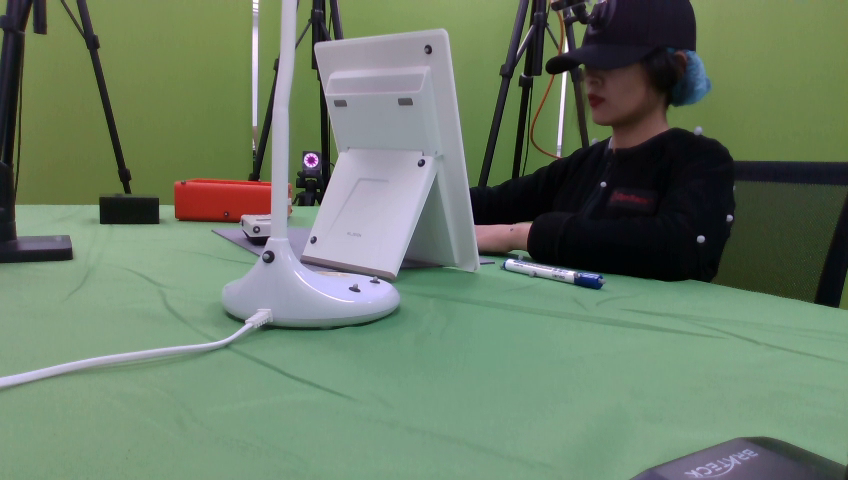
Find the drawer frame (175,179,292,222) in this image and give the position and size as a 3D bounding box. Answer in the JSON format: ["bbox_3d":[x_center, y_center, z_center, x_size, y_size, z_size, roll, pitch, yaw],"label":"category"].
[{"bbox_3d":[-0.402,-0.087,1.311,0.214,0.082,0.201,1,8,-9],"label":"drawer frame"}]

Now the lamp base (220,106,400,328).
[{"bbox_3d":[-0.101,-0.023,0.531,0.160,0.180,0.179,4,10,10],"label":"lamp base"}]

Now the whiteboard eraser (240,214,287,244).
[{"bbox_3d":[-0.256,-0.018,0.958,0.056,0.042,0.112,0,8,-25],"label":"whiteboard eraser"}]

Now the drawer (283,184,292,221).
[{"bbox_3d":[-0.397,-0.086,1.314,0.212,0.073,0.194,1,8,-9],"label":"drawer"}]

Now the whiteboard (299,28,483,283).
[{"bbox_3d":[-0.075,-0.082,0.741,0.216,0.305,0.144,9,30,38],"label":"whiteboard"}]

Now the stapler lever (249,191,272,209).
[{"bbox_3d":[-0.352,-0.086,1.306,0.027,0.040,0.118,-1,5,-3],"label":"stapler lever"}]

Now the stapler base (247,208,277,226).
[{"bbox_3d":[-0.350,-0.054,1.310,0.041,0.024,0.130,-1,12,-3],"label":"stapler base"}]

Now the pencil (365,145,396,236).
[{"bbox_3d":[-0.081,-0.093,1.111,0.012,0.194,0.012,13,-22,6],"label":"pencil"}]

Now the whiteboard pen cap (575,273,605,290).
[{"bbox_3d":[0.197,0.048,0.719,0.018,0.018,0.033,-4,11,-41],"label":"whiteboard pen cap"}]

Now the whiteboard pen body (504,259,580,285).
[{"bbox_3d":[0.157,0.042,0.764,0.017,0.017,0.140,-4,11,-41],"label":"whiteboard pen body"}]
